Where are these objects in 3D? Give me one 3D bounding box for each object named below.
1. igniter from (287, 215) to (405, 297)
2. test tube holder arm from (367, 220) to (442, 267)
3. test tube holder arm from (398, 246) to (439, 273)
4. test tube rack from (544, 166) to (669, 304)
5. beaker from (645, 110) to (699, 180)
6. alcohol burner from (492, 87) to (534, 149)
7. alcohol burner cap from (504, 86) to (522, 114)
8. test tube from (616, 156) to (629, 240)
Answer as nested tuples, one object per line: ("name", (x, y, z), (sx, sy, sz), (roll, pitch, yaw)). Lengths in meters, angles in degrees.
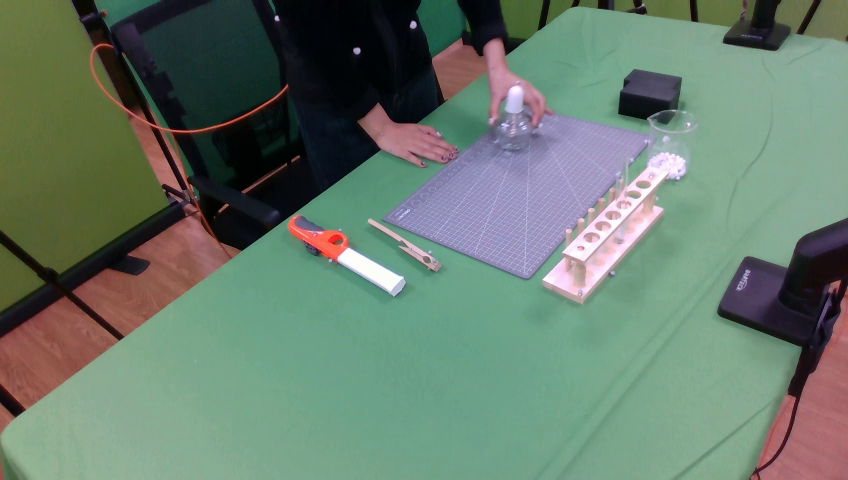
("igniter", (-0.137, 0.019, 0.980), (0.274, 0.025, 0.057), (28, 62, 36))
("test tube holder arm", (-0.035, 0.004, 0.985), (0.177, 0.015, 0.013), (31, 89, 40))
("test tube holder arm", (-0.009, 0.027, 0.957), (0.087, 0.015, 0.010), (34, 90, 40))
("test tube rack", (0.274, -0.018, 0.903), (0.066, 0.085, 0.243), (26, 51, 35))
("beaker", (0.417, -0.160, 1.033), (0.083, 0.101, 0.074), (25, 51, 35))
("alcohol burner", (0.167, -0.232, 1.130), (0.078, 0.119, 0.077), (-2, 43, 2))
("alcohol burner cap", (0.165, -0.260, 1.107), (0.034, 0.048, 0.033), (1, 45, 0))
("test tube", (0.284, -0.057, 0.869), (0.017, 0.151, 0.017), (-8, 42, 8))
